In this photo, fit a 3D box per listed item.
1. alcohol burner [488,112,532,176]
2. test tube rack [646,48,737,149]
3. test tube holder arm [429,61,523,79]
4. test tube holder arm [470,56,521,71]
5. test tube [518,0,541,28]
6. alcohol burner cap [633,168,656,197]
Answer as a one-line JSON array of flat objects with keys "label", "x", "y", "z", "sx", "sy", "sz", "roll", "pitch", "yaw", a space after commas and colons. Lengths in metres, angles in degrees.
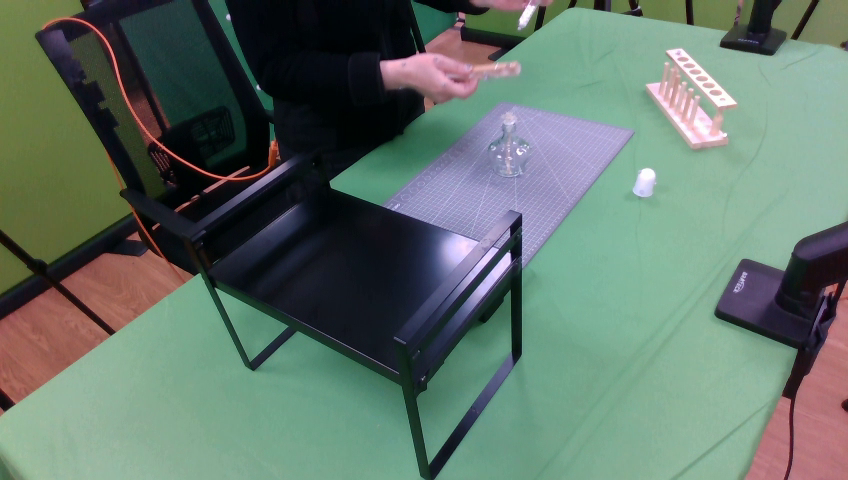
[{"label": "alcohol burner", "x": 0.155, "y": -0.176, "z": 1.083, "sx": 0.078, "sy": 0.119, "sz": 0.077, "roll": -3, "pitch": 41, "yaw": 3}, {"label": "test tube rack", "x": 0.511, "y": -0.280, "z": 1.175, "sx": 0.067, "sy": 0.085, "sz": 0.241, "roll": -8, "pitch": 41, "yaw": 1}, {"label": "test tube holder arm", "x": 0.079, "y": -0.274, "z": 0.976, "sx": 0.177, "sy": 0.013, "sz": 0.015, "roll": 5, "pitch": 50, "yaw": 41}, {"label": "test tube holder arm", "x": 0.110, "y": -0.275, "z": 0.944, "sx": 0.087, "sy": 0.010, "sz": 0.015, "roll": 5, "pitch": 50, "yaw": 40}, {"label": "test tube", "x": 0.192, "y": -0.410, "z": 0.994, "sx": 0.017, "sy": 0.017, "sz": 0.150, "roll": 23, "pitch": 77, "yaw": 31}, {"label": "alcohol burner cap", "x": 0.374, "y": -0.099, "z": 1.018, "sx": 0.034, "sy": 0.048, "sz": 0.033, "roll": -1, "pitch": 42, "yaw": 1}]
